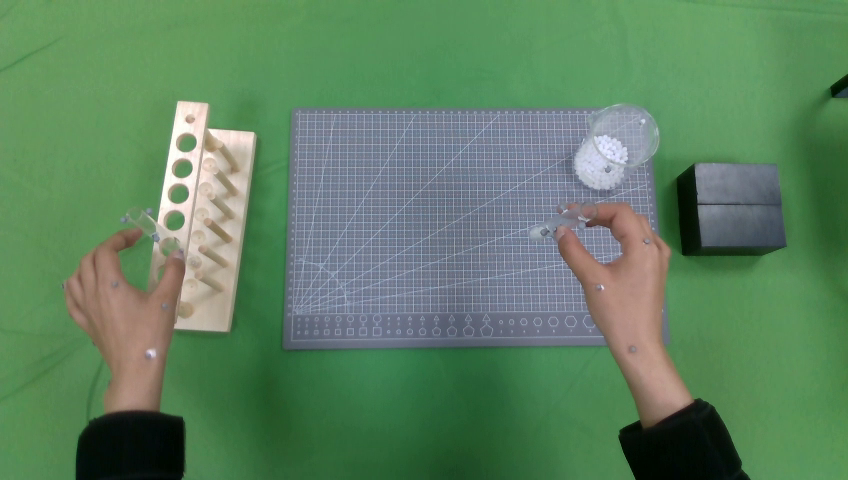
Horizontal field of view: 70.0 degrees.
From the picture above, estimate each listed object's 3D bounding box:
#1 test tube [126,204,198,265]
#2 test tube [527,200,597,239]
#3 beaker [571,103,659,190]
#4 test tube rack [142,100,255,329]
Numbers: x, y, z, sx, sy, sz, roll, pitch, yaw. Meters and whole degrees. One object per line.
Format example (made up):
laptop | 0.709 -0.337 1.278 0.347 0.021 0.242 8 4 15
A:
test tube | -0.267 -0.002 0.628 0.017 0.151 0.017 0 70 1
test tube | 0.121 -0.016 0.549 0.017 0.150 0.017 1 84 -7
beaker | 0.215 -0.106 0.708 0.084 0.100 0.074 31 78 7
test tube rack | -0.248 -0.026 0.684 0.067 0.085 0.241 4 78 -1
